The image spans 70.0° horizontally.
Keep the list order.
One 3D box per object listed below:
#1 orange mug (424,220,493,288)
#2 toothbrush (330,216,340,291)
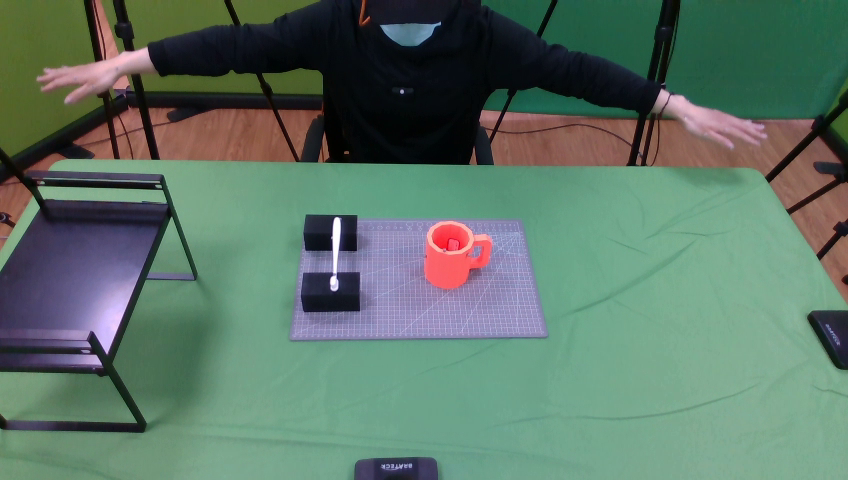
[{"bbox_3d":[0.064,0.023,1.119,0.126,0.101,0.083,-9,47,-7],"label":"orange mug"},{"bbox_3d":[-0.161,0.019,1.094,0.014,0.017,0.180,-12,45,6],"label":"toothbrush"}]
